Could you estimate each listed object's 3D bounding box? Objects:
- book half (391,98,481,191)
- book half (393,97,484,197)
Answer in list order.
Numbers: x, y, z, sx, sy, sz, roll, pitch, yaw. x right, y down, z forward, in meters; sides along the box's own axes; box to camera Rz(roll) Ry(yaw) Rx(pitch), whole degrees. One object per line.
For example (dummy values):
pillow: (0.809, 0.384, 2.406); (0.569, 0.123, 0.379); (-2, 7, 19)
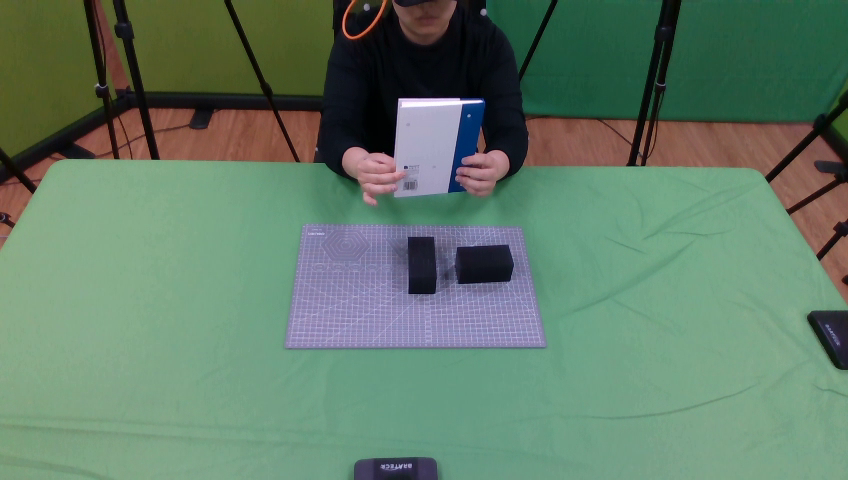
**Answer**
book half: (0.017, -0.167, 1.096); (0.143, 0.211, 0.007); (-3, 49, -10)
book half: (0.021, -0.161, 1.090); (0.149, 0.211, 0.016); (-6, 50, -12)
